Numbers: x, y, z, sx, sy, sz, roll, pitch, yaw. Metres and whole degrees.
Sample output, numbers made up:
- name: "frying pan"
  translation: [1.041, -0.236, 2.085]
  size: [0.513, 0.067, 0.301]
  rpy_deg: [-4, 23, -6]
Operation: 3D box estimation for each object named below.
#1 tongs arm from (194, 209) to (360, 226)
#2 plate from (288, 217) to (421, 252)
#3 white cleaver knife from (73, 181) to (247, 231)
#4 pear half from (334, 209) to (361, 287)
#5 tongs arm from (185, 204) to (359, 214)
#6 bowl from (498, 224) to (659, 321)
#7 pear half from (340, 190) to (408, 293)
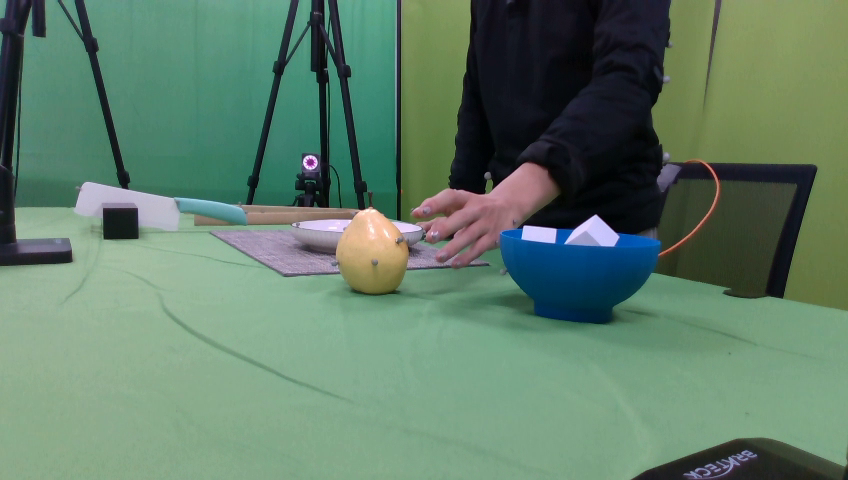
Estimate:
- name: "tongs arm"
  translation: [-0.298, -0.050, 1.308]
  size: [0.390, 0.028, 0.028]
  rpy_deg: [-4, 7, -38]
- name: "plate"
  translation: [-0.109, -0.008, 0.956]
  size: [0.208, 0.039, 0.207]
  rpy_deg: [2, 7, 0]
- name: "white cleaver knife"
  translation: [-0.465, -0.052, 1.090]
  size: [0.288, 0.066, 0.021]
  rpy_deg: [9, 7, -30]
- name: "pear half"
  translation: [-0.076, 0.008, 0.663]
  size: [0.031, 0.088, 0.071]
  rpy_deg: [6, 18, 33]
- name: "tongs arm"
  translation: [-0.337, -0.065, 1.377]
  size: [0.387, 0.026, 0.050]
  rpy_deg: [0, 9, -25]
- name: "bowl"
  translation: [0.144, 0.031, 0.585]
  size: [0.151, 0.077, 0.151]
  rpy_deg: [3, 7, 0]
- name: "pear half"
  translation: [-0.047, 0.002, 0.641]
  size: [0.055, 0.110, 0.076]
  rpy_deg: [6, 18, 32]
